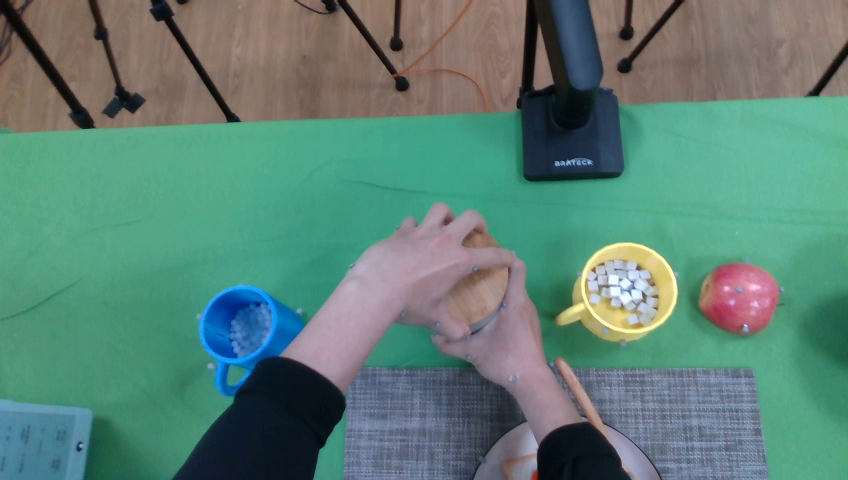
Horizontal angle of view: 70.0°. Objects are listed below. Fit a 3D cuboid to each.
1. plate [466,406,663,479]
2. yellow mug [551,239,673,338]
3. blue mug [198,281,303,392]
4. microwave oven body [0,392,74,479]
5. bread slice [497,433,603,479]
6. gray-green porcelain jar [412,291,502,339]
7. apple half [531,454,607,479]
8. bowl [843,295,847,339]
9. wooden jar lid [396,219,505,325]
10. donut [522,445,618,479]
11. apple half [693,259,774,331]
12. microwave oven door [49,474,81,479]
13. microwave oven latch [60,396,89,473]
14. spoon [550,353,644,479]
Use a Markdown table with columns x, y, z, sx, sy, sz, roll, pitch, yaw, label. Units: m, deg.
| x | y | z | sx | sy | sz | roll | pitch | yaw | label |
| --- | --- | --- | --- | --- | --- | --- | --- | --- | --- |
| 0.143 | 0.278 | 0.622 | 0.207 | 0.039 | 0.206 | -1 | 73 | 5 | plate |
| 0.202 | 0.061 | 0.672 | 0.131 | 0.064 | 0.099 | -24 | 73 | -1 | yellow mug |
| -0.196 | 0.112 | 0.671 | 0.082 | 0.106 | 0.116 | 19 | 76 | 11 | blue mug |
| -0.556 | 0.359 | 0.544 | 0.326 | 0.262 | 0.439 | -1 | 74 | 5 | microwave oven body |
| 0.147 | 0.276 | 0.622 | 0.107 | 0.018 | 0.133 | -18 | 74 | 0 | bread slice |
| 0.033 | 0.051 | 0.659 | 0.106 | 0.127 | 0.105 | -1 | 74 | 5 | gray-green porcelain jar |
| 0.140 | 0.243 | 0.566 | 0.081 | 0.033 | 0.081 | -4 | 70 | 11 | apple half |
| 0.504 | 0.091 | 0.628 | 0.151 | 0.077 | 0.150 | -2 | 74 | 5 | bowl |
| 0.026 | 0.032 | 0.600 | 0.108 | 0.021 | 0.107 | -2 | 72 | 6 | wooden jar lid |
| 0.145 | 0.254 | 0.600 | 0.099 | 0.048 | 0.098 | -1 | 73 | 5 | donut |
| 0.344 | 0.056 | 0.667 | 0.074 | 0.054 | 0.080 | 21 | 76 | 13 | apple half |
| -0.412 | 0.395 | 0.514 | 0.039 | 0.245 | 0.353 | -1 | 73 | 6 | microwave oven door |
| -0.398 | 0.216 | 0.674 | 0.030 | 0.030 | 0.078 | 4 | 74 | 6 | microwave oven latch |
| 0.184 | 0.203 | 0.625 | 0.041 | 0.022 | 0.193 | -28 | 81 | -1 | spoon |
